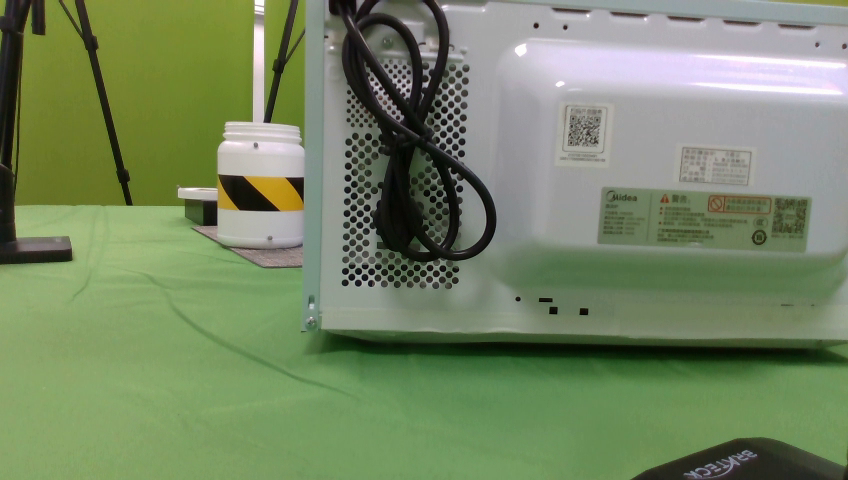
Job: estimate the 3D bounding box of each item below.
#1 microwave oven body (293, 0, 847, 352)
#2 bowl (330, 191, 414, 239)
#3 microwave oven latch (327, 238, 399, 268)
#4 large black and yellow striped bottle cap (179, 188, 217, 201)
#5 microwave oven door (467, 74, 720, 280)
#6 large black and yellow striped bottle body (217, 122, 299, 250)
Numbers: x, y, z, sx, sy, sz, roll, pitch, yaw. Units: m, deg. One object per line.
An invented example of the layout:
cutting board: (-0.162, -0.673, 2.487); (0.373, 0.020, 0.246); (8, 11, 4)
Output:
microwave oven body: (0.122, -0.055, 0.550); (0.442, 0.260, 0.325); (3, 7, -5)
bowl: (-0.095, -0.044, 1.096); (0.151, 0.077, 0.151); (3, 8, 0)
microwave oven latch: (-0.069, 0.015, 0.694); (0.079, 0.029, 0.030); (3, 7, -3)
large black and yellow striped bottle cap: (-0.434, -0.093, 1.226); (0.115, 0.019, 0.115); (3, 9, 0)
microwave oven door: (0.207, -0.092, 0.831); (0.039, 0.243, 0.354); (-5, 10, -44)
large black and yellow striped bottle body: (-0.250, -0.084, 0.931); (0.131, 0.184, 0.130); (2, 7, 0)
